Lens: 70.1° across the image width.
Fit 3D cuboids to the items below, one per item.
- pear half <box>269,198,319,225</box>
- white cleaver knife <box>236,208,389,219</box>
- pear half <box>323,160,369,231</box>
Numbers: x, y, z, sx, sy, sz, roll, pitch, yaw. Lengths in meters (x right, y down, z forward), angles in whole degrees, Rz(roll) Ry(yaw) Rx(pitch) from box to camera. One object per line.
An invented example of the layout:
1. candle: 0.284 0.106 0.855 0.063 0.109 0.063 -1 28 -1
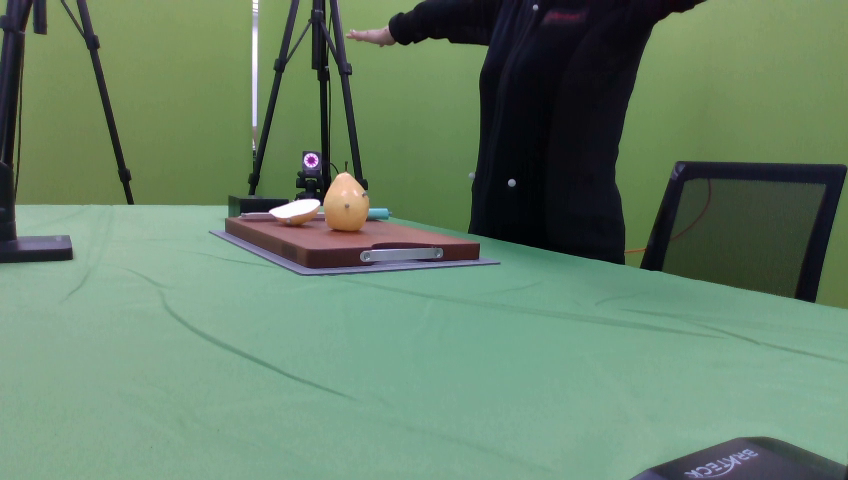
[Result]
1. pear half: -0.212 -0.042 0.995 0.088 0.031 0.070 -9 19 20
2. white cleaver knife: -0.194 -0.049 1.104 0.288 0.021 0.065 -1 -2 -32
3. pear half: -0.113 -0.068 0.938 0.056 0.110 0.076 6 12 27
